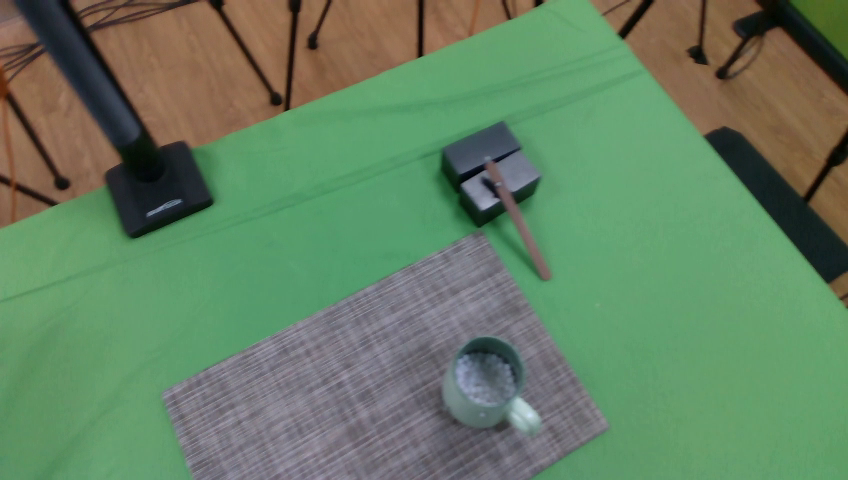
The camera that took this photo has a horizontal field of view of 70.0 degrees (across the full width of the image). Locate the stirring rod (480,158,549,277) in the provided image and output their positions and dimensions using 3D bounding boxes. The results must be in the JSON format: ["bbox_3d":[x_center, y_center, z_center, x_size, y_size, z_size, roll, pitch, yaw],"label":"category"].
[{"bbox_3d":[0.120,-0.029,0.798,0.014,0.006,0.176,-29,94,-3],"label":"stirring rod"}]

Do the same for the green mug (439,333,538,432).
[{"bbox_3d":[0.077,0.169,0.689,0.124,0.105,0.092,40,70,15],"label":"green mug"}]
